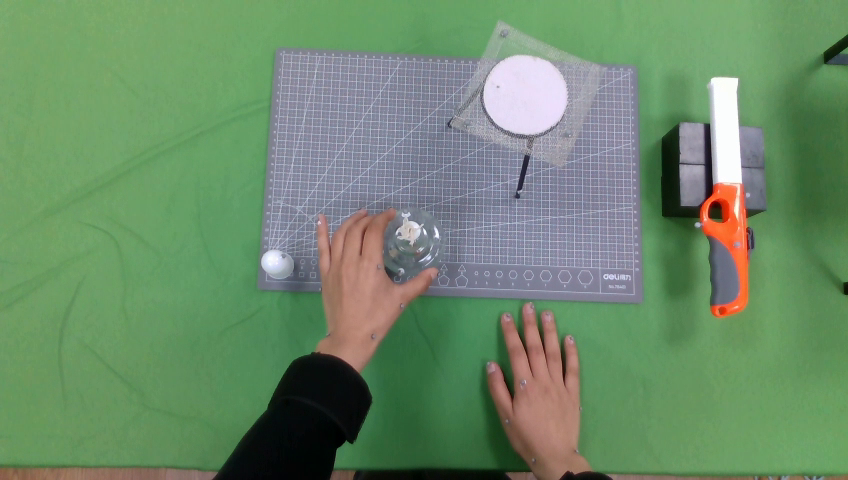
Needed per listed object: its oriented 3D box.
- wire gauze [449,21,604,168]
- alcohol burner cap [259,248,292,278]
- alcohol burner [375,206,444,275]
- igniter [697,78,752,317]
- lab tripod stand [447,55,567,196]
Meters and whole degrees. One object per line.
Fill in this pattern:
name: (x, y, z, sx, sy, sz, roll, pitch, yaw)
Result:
wire gauze: (0.105, -0.147, 0.609, 0.121, 0.011, 0.124, 25, 79, 2)
alcohol burner cap: (-0.169, 0.024, 0.681, 0.034, 0.048, 0.033, 1, 80, -3)
alcohol burner: (-0.016, -0.002, 0.657, 0.078, 0.119, 0.077, 0, 81, -2)
igniter: (0.336, -0.051, 0.681, 0.057, 0.025, 0.275, 3, 79, 4)
lab tripod stand: (0.101, -0.137, 0.675, 0.148, 0.132, 0.147, 1, 78, -2)
